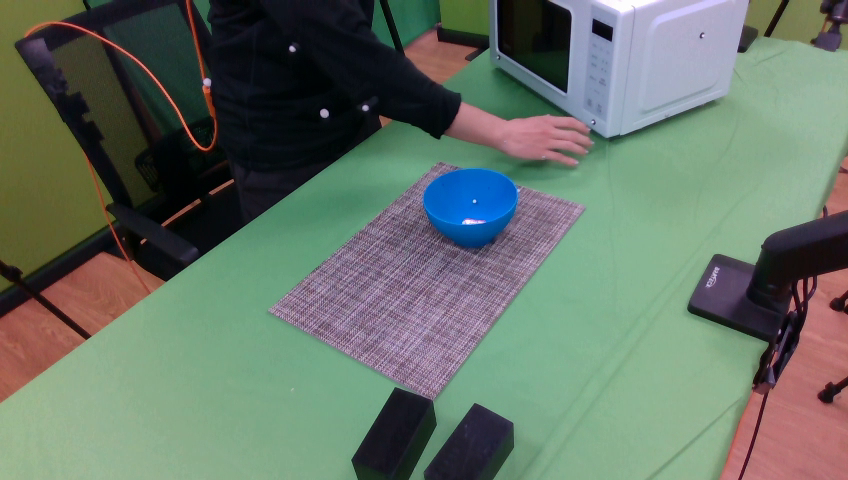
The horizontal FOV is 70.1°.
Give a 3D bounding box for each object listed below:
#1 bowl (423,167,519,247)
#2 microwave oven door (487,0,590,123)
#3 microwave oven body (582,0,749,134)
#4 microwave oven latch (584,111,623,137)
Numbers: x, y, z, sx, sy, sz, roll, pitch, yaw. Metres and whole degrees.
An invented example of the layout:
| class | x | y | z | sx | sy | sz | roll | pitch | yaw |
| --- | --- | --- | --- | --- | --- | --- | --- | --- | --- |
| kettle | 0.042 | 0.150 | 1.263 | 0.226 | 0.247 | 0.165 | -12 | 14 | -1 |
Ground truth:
| class | x | y | z | sx | sy | sz | roll | pitch | yaw |
| --- | --- | --- | --- | --- | --- | --- | --- | --- | --- |
| bowl | 0.075 | -0.041 | 0.958 | 0.151 | 0.077 | 0.150 | -4 | 40 | 4 |
| microwave oven door | 0.232 | -0.420 | 1.231 | 0.039 | 0.245 | 0.352 | -22 | 43 | -16 |
| microwave oven body | 0.382 | -0.445 | 1.246 | 0.327 | 0.261 | 0.437 | -22 | 42 | -16 |
| microwave oven latch | 0.337 | -0.222 | 1.142 | 0.030 | 0.029 | 0.078 | -21 | 42 | -14 |
